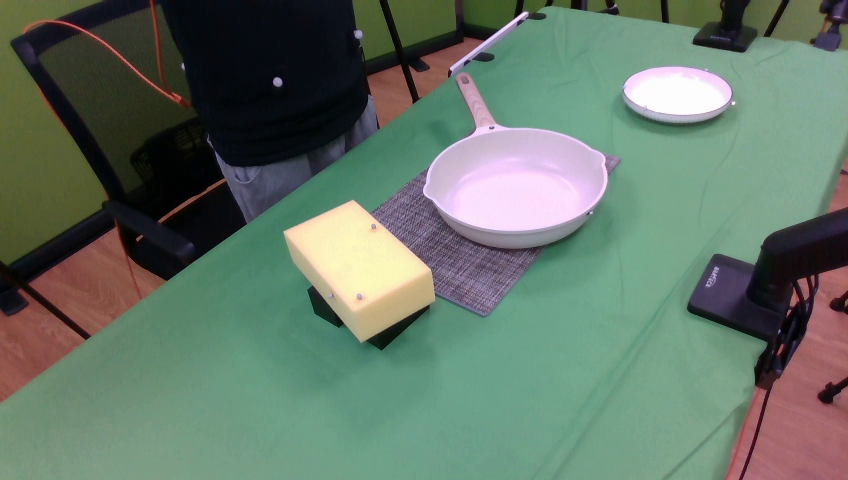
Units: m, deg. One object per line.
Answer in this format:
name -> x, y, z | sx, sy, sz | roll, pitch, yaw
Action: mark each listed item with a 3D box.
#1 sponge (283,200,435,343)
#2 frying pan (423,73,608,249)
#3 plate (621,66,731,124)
sponge -> -0.094, 0.036, 0.835 | 0.119, 0.061, 0.205 | -29, 45, -23
frying pan -> 0.130, -0.161, 1.069 | 0.307, 0.103, 0.484 | -10, 49, -6
plate -> 0.503, -0.288, 1.221 | 0.207, 0.039, 0.206 | -4, 41, 4
